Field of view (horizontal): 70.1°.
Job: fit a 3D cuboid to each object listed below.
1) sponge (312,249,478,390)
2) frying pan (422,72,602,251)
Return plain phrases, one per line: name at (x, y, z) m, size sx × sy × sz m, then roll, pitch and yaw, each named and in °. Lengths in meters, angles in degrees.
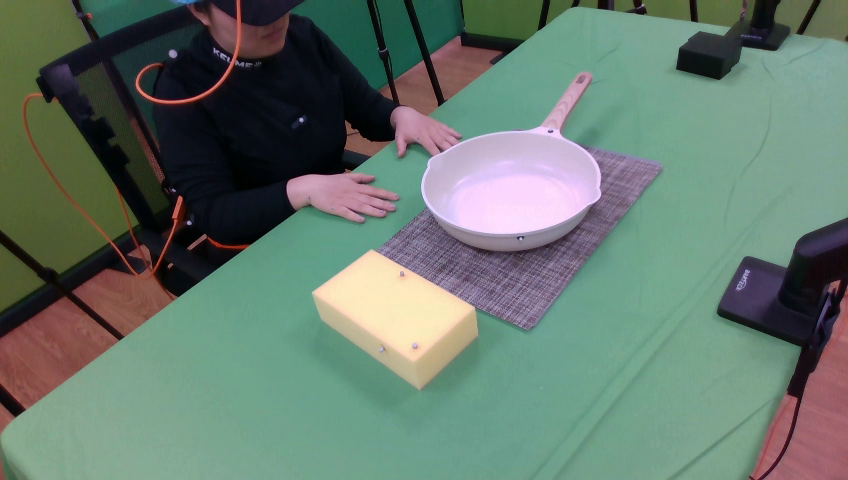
sponge at (-0.042, 0.103, 0.843) m, size 0.205 × 0.061 × 0.118 m, roll 27°, pitch 52°, yaw 35°
frying pan at (0.199, -0.155, 1.062) m, size 0.304 × 0.103 × 0.488 m, roll 19°, pitch 56°, yaw 28°
